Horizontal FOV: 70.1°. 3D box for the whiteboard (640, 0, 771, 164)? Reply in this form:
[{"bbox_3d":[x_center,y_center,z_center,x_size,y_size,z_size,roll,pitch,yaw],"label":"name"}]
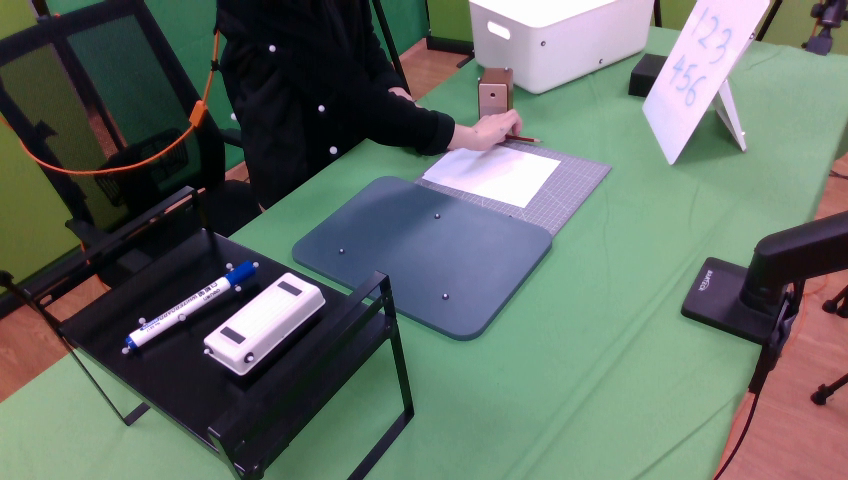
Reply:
[{"bbox_3d":[0.543,-0.299,1.076,0.144,0.305,0.216,12,40,-7],"label":"whiteboard"}]

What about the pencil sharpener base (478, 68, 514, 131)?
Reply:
[{"bbox_3d":[0.148,-0.286,1.225,0.061,0.107,0.076,5,41,15],"label":"pencil sharpener base"}]

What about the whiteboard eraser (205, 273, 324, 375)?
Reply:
[{"bbox_3d":[-0.157,0.084,0.605,0.055,0.042,0.113,24,49,30],"label":"whiteboard eraser"}]

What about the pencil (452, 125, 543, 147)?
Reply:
[{"bbox_3d":[0.144,-0.206,1.205,0.193,0.012,0.012,16,46,21],"label":"pencil"}]

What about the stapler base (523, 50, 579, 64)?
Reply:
[{"bbox_3d":[0.301,-0.436,1.434,0.130,0.024,0.041,5,40,16],"label":"stapler base"}]

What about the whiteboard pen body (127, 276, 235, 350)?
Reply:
[{"bbox_3d":[-0.250,0.071,0.649,0.141,0.017,0.017,-36,48,-26],"label":"whiteboard pen body"}]

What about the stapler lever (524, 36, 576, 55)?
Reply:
[{"bbox_3d":[0.296,-0.456,1.418,0.117,0.040,0.027,4,40,17],"label":"stapler lever"}]

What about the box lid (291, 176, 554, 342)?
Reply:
[{"bbox_3d":[-0.005,0.011,0.972,0.368,0.015,0.264,21,49,30],"label":"box lid"}]

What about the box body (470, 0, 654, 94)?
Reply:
[{"bbox_3d":[0.319,-0.498,1.405,0.365,0.161,0.252,-26,43,-21],"label":"box body"}]

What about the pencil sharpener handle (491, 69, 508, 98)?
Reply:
[{"bbox_3d":[0.155,-0.329,1.254,0.036,0.068,0.030,17,43,4],"label":"pencil sharpener handle"}]

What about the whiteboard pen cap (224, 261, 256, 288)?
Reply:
[{"bbox_3d":[-0.207,0.039,0.677,0.033,0.018,0.018,-36,47,-18],"label":"whiteboard pen cap"}]
